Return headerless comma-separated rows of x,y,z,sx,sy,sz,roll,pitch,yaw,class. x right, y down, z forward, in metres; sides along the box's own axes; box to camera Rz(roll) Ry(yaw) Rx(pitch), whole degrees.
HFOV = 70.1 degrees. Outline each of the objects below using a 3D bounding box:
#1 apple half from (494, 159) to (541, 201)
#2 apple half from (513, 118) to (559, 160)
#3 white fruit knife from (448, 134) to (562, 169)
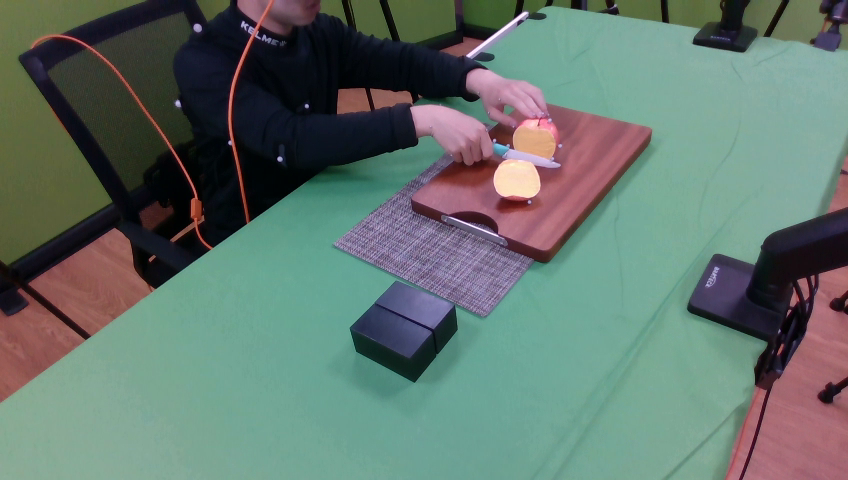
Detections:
0.154,-0.095,0.999,0.081,0.033,0.081,-1,64,2,apple half
0.202,-0.179,1.065,0.080,0.075,0.053,11,40,24,apple half
0.141,-0.156,1.067,0.207,0.027,0.016,16,44,11,white fruit knife
